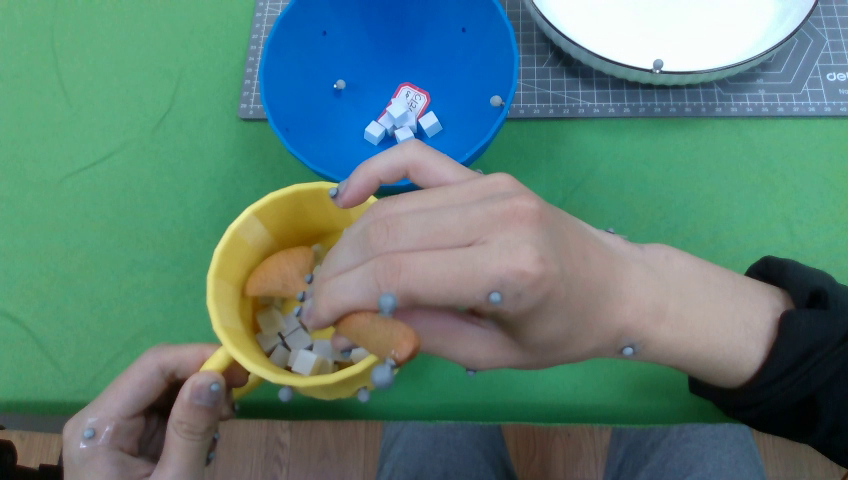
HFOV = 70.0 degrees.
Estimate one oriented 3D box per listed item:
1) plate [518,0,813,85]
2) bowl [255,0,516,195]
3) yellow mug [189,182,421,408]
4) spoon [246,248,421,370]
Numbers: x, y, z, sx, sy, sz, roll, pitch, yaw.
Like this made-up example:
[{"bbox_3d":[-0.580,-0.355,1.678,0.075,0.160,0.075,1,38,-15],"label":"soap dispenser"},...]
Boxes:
[{"bbox_3d":[0.162,-0.194,0.426,0.209,0.038,0.207,-1,70,4],"label":"plate"},{"bbox_3d":[-0.019,-0.089,0.382,0.151,0.077,0.150,-1,74,4],"label":"bowl"},{"bbox_3d":[-0.064,0.039,0.309,0.131,0.064,0.099,-42,76,-11],"label":"yellow mug"},{"bbox_3d":[-0.042,0.024,0.248,0.041,0.192,0.022,-34,110,-19],"label":"spoon"}]
